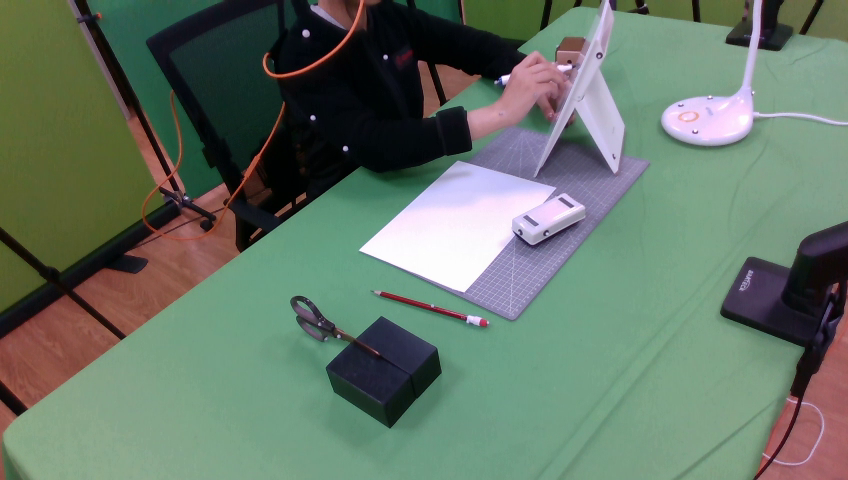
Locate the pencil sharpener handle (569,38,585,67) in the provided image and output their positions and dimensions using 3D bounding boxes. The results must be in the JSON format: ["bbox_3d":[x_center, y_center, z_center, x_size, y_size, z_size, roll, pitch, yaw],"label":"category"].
[{"bbox_3d":[0.333,-0.413,1.317,0.036,0.068,0.030,19,47,13],"label":"pencil sharpener handle"}]

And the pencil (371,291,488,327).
[{"bbox_3d":[0.003,0.097,0.877,0.193,0.012,0.012,13,45,26],"label":"pencil"}]

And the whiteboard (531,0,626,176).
[{"bbox_3d":[0.321,-0.258,1.050,0.144,0.306,0.217,22,45,5],"label":"whiteboard"}]

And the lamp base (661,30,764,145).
[{"bbox_3d":[0.535,-0.287,1.096,0.179,0.181,0.159,-10,40,-4],"label":"lamp base"}]

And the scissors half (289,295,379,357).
[{"bbox_3d":[-0.122,0.114,0.803,0.174,0.040,0.013,26,50,32],"label":"scissors half"}]

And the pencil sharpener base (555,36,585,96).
[{"bbox_3d":[0.318,-0.371,1.290,0.061,0.107,0.076,10,44,22],"label":"pencil sharpener base"}]

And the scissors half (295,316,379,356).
[{"bbox_3d":[-0.119,0.131,0.813,0.174,0.040,0.013,9,34,45],"label":"scissors half"}]

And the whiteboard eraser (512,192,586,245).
[{"bbox_3d":[0.199,-0.032,0.962,0.113,0.042,0.055,-27,42,-20],"label":"whiteboard eraser"}]

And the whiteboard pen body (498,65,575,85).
[{"bbox_3d":[0.205,-0.303,1.101,0.141,0.017,0.017,-10,40,4],"label":"whiteboard pen body"}]

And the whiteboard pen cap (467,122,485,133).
[{"bbox_3d":[0.106,-0.229,1.235,0.033,0.018,0.018,-18,41,-5],"label":"whiteboard pen cap"}]
